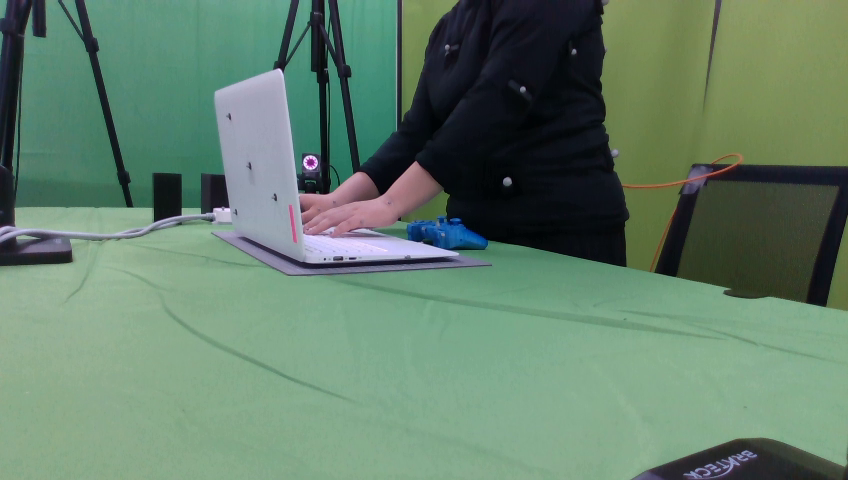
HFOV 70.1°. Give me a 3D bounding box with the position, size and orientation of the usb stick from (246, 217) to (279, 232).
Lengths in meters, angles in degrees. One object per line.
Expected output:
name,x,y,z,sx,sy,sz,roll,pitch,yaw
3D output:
usb stick,-0.297,-0.029,1.113,0.059,0.027,0.021,-3,9,-28

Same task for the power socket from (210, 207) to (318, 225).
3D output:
power socket,-0.335,-0.051,1.281,0.228,0.032,0.072,-1,9,-29

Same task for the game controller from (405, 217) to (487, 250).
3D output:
game controller,0.033,-0.013,1.067,0.097,0.051,0.154,-6,10,-29

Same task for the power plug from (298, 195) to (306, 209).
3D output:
power plug,-0.284,-0.075,1.341,0.035,0.052,0.072,0,3,-18

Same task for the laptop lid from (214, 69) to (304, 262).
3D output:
laptop lid,-0.247,-0.107,0.865,0.013,0.241,0.355,-11,14,-30

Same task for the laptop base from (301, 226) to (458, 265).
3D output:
laptop base,-0.137,0.007,0.951,0.237,0.023,0.352,2,6,-32
